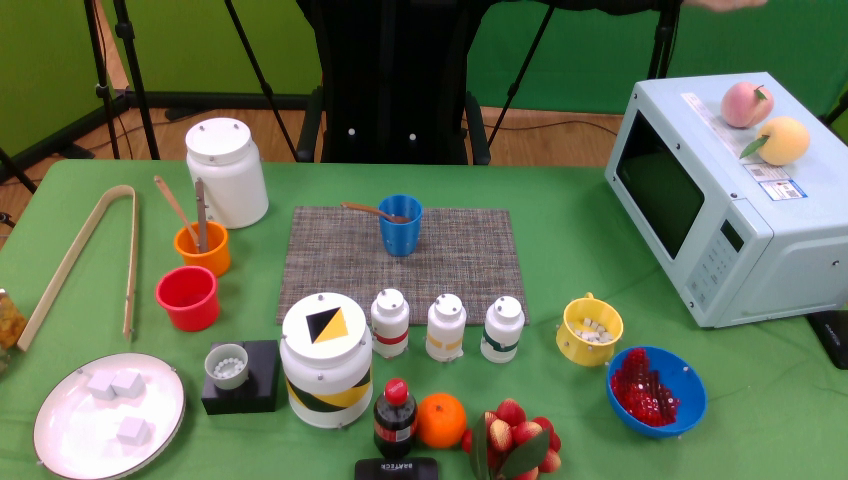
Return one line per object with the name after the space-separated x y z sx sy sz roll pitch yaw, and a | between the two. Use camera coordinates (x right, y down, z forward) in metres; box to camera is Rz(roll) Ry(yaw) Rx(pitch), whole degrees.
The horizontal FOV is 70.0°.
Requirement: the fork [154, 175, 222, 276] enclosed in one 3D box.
-0.431 -0.026 1.101 0.028 0.018 0.207 -33 100 -25 | fork

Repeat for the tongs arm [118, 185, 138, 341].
-0.555 0.028 1.116 0.051 0.026 0.382 -10 47 -9 | tongs arm

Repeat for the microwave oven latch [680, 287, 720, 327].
0.494 0.119 1.089 0.030 0.029 0.078 -7 46 -10 | microwave oven latch

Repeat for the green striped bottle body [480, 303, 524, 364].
0.129 0.147 1.000 0.063 0.120 0.063 2 46 -2 | green striped bottle body

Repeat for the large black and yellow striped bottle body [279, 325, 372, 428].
-0.143 0.181 0.900 0.131 0.185 0.130 2 46 -2 | large black and yellow striped bottle body

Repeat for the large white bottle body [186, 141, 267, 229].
-0.382 -0.127 1.176 0.131 0.185 0.130 2 46 -2 | large white bottle body

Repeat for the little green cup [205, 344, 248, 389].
-0.294 0.191 0.909 0.061 0.039 0.061 1 47 -1 | little green cup

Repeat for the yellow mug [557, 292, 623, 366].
0.285 0.145 1.051 0.100 0.064 0.130 7 46 4 | yellow mug

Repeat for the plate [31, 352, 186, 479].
-0.459 0.262 0.898 0.209 0.038 0.208 2 46 -2 | plate

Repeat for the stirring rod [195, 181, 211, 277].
-0.403 -0.020 1.104 0.014 0.006 0.176 -6 89 -9 | stirring rod

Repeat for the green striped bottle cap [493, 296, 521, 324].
0.133 0.111 0.962 0.044 0.020 0.044 2 47 -2 | green striped bottle cap

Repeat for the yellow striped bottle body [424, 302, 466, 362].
0.035 0.143 0.995 0.063 0.121 0.062 3 46 -3 | yellow striped bottle body

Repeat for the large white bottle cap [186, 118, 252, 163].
-0.377 -0.185 1.115 0.115 0.018 0.114 2 47 -2 | large white bottle cap

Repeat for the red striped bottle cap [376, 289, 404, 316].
-0.055 0.098 0.958 0.044 0.018 0.044 0 48 0 | red striped bottle cap

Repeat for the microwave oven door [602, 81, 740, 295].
0.456 -0.107 1.162 0.039 0.245 0.353 -7 47 -11 | microwave oven door

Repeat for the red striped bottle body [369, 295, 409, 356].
-0.059 0.134 0.997 0.063 0.120 0.062 5 48 -5 | red striped bottle body

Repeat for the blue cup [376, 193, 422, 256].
-0.048 -0.024 1.157 0.093 0.101 0.092 1 48 -1 | blue cup

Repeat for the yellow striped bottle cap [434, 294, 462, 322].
0.038 0.107 0.958 0.044 0.019 0.044 2 45 -2 | yellow striped bottle cap

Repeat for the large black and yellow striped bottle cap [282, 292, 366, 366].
-0.138 0.121 0.841 0.115 0.019 0.114 3 47 -3 | large black and yellow striped bottle cap

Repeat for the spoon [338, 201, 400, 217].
-0.085 -0.048 1.100 0.195 0.021 0.041 20 27 -53 | spoon

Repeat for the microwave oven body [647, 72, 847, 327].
0.608 -0.089 1.164 0.326 0.261 0.438 -7 46 -10 | microwave oven body

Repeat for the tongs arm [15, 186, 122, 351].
-0.642 0.035 1.106 0.028 0.028 0.385 -1 46 5 | tongs arm

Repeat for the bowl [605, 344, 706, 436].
0.351 0.247 0.950 0.151 0.077 0.150 2 46 -2 | bowl
